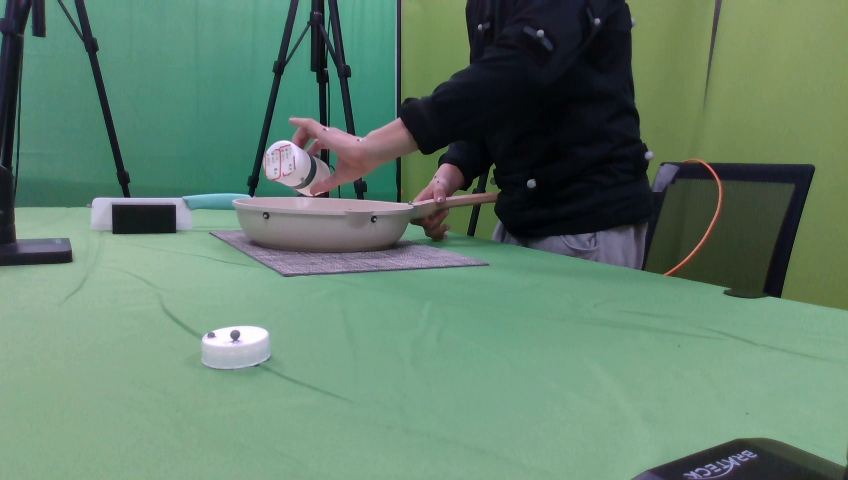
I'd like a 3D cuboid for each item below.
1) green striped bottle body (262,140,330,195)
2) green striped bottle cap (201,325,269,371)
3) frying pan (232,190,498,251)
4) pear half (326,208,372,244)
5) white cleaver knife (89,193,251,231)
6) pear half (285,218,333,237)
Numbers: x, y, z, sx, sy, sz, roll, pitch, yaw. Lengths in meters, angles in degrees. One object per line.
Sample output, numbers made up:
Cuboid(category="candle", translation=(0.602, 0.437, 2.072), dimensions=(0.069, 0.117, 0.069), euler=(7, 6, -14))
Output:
Cuboid(category="green striped bottle body", translation=(-0.197, -0.111, 0.965), dimensions=(0.063, 0.063, 0.120), euler=(6, -9, 23))
Cuboid(category="green striped bottle cap", translation=(-0.129, 0.073, 0.415), dimensions=(0.044, 0.020, 0.044), euler=(2, 8, 0))
Cuboid(category="frying pan", translation=(-0.073, -0.051, 1.048), dimensions=(0.490, 0.102, 0.305), euler=(-11, 13, -27))
Cuboid(category="pear half", translation=(-0.128, -0.026, 1.017), dimensions=(0.076, 0.056, 0.109), euler=(5, 5, -18))
Cuboid(category="white cleaver knife", translation=(-0.454, -0.052, 1.115), dimensions=(0.288, 0.066, 0.021), euler=(-4, 14, -27))
Cuboid(category="pear half", translation=(-0.198, -0.023, 1.053), dimensions=(0.088, 0.031, 0.070), euler=(-9, 18, -44))
